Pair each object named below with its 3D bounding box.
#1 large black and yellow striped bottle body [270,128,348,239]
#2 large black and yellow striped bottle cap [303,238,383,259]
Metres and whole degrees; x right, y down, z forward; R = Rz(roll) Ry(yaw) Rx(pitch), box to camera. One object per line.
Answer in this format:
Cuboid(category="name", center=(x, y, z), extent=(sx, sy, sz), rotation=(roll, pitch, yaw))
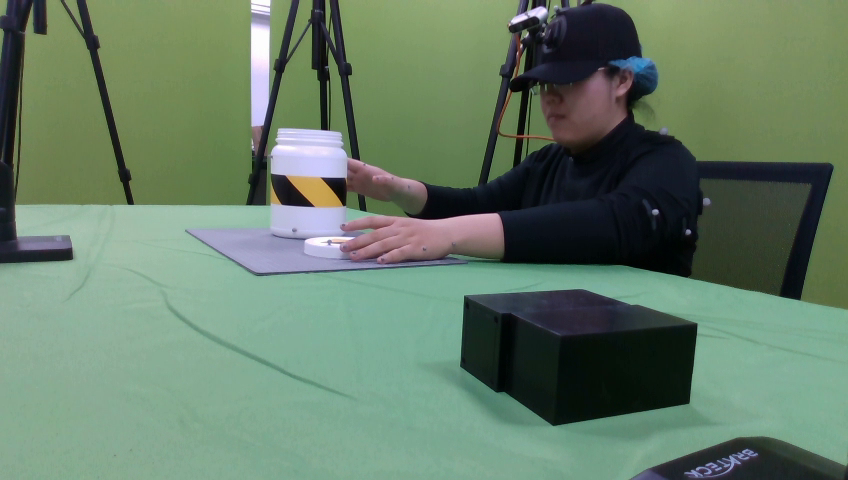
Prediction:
Cuboid(category="large black and yellow striped bottle body", center=(-0.200, -0.099, 1.053), extent=(0.131, 0.184, 0.130), rotation=(3, 8, 0))
Cuboid(category="large black and yellow striped bottle cap", center=(-0.117, 0.011, 0.880), extent=(0.115, 0.019, 0.115), rotation=(2, 6, 0))
